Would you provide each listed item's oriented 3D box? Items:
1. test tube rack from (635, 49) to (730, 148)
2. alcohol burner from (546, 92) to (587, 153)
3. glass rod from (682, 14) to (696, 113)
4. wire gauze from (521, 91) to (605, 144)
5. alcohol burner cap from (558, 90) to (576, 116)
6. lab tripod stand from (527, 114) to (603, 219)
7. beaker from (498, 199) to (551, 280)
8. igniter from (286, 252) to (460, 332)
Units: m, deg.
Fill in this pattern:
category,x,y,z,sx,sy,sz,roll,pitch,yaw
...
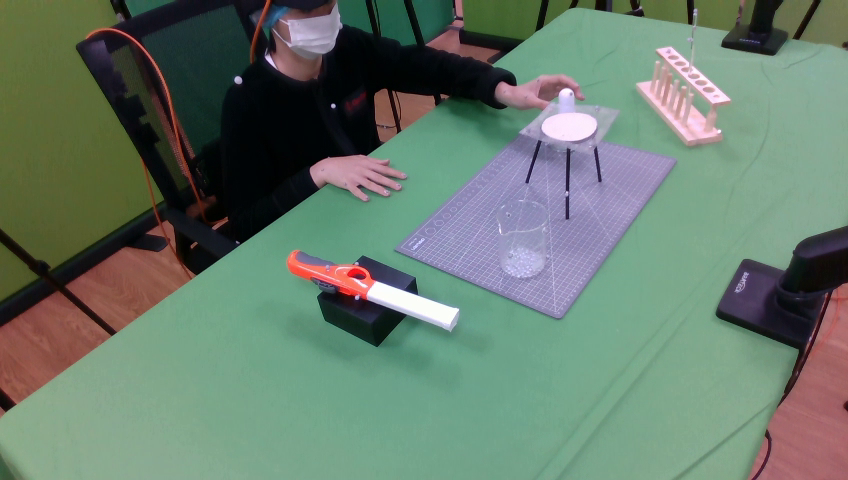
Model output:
category,x,y,z,sx,sy,sz,roll,pitch,yaw
test tube rack,0.497,-0.283,1.185,0.067,0.085,0.240,-10,40,-2
alcohol burner,0.263,-0.222,1.124,0.078,0.119,0.077,-5,42,5
glass rod,0.495,-0.326,1.132,0.008,0.201,0.008,-8,42,8
wire gauze,0.219,-0.191,0.948,0.121,0.011,0.125,8,49,13
alcohol burner cap,0.260,-0.250,1.102,0.034,0.048,0.033,-7,36,6
lab tripod stand,0.235,-0.129,1.002,0.148,0.132,0.147,-6,40,6
beaker,0.144,0.003,0.884,0.073,0.101,0.084,28,52,36
igniter,-0.080,0.067,0.832,0.275,0.025,0.057,17,46,22
